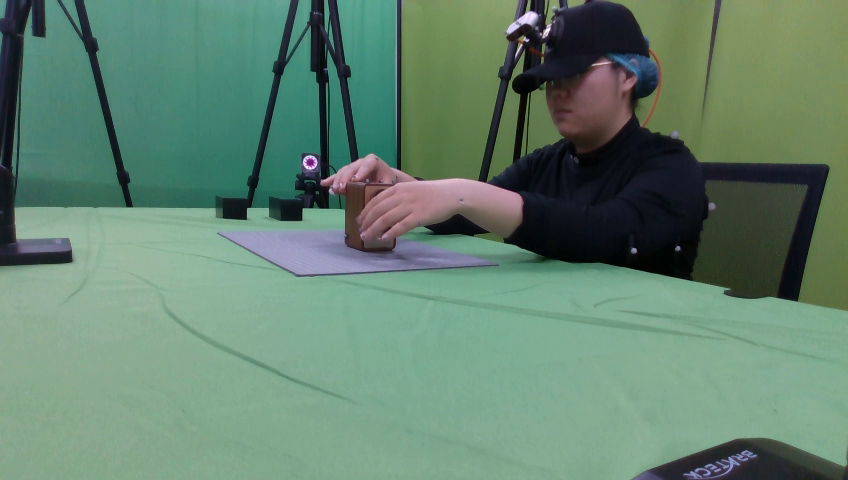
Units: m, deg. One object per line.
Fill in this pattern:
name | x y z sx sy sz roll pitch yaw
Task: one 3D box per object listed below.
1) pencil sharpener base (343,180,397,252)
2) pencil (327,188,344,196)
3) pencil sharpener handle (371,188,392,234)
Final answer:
pencil sharpener base | -0.085 -0.038 0.958 0.062 0.107 0.076 -2 9 -32
pencil | -0.124 -0.076 1.023 0.012 0.012 0.193 -1 9 -31
pencil sharpener handle | -0.059 -0.044 0.913 0.036 0.067 0.030 3 6 -33
